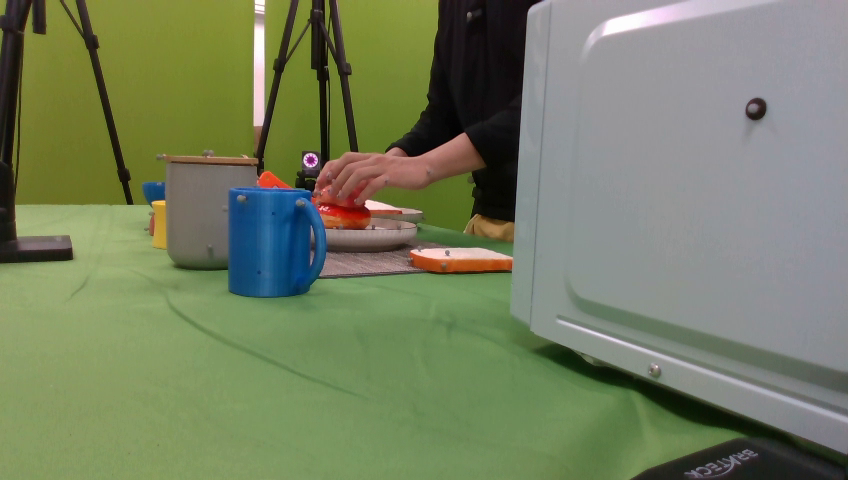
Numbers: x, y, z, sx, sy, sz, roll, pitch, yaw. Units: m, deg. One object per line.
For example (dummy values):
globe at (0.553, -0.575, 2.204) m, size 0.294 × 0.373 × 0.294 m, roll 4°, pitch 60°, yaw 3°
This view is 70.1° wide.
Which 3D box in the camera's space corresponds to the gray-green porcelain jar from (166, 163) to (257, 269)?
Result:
gray-green porcelain jar at (-0.263, -0.031, 0.754) m, size 0.106 × 0.126 × 0.106 m, roll 2°, pitch 7°, yaw 0°

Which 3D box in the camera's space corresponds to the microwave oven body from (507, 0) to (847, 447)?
microwave oven body at (0.331, -0.042, 0.425) m, size 0.444 × 0.260 × 0.324 m, roll -2°, pitch 8°, yaw -31°

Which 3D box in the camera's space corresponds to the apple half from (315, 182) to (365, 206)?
apple half at (-0.129, -0.076, 0.954) m, size 0.081 × 0.033 × 0.081 m, roll 8°, pitch 13°, yaw -1°

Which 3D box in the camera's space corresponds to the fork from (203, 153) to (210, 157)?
fork at (-0.480, -0.135, 1.411) m, size 0.028 × 0.018 × 0.207 m, roll 1°, pitch -34°, yaw -1°

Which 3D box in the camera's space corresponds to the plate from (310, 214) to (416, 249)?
plate at (-0.116, -0.014, 0.967) m, size 0.208 × 0.039 × 0.207 m, roll 2°, pitch 8°, yaw 0°

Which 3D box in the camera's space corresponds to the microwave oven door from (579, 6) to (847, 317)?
microwave oven door at (0.294, -0.067, 0.570) m, size 0.358 × 0.243 × 0.039 m, roll -3°, pitch 9°, yaw -31°

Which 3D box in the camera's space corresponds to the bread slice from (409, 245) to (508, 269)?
bread slice at (0.048, 0.021, 0.816) m, size 0.132 × 0.019 × 0.104 m, roll 0°, pitch 7°, yaw -24°

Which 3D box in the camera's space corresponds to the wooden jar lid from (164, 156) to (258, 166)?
wooden jar lid at (-0.261, -0.093, 0.746) m, size 0.108 × 0.020 × 0.108 m, roll 1°, pitch 9°, yaw 0°

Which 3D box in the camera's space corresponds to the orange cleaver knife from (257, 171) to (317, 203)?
orange cleaver knife at (-0.283, -0.087, 1.343) m, size 0.212 × 0.077 × 0.012 m, roll 24°, pitch -16°, yaw -41°

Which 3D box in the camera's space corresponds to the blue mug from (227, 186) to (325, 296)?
blue mug at (-0.146, 0.000, 0.618) m, size 0.116 × 0.106 × 0.083 m, roll 7°, pitch 9°, yaw 32°

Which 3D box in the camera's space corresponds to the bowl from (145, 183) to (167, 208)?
bowl at (-0.459, -0.068, 1.175) m, size 0.151 × 0.077 × 0.151 m, roll 3°, pitch 7°, yaw 0°

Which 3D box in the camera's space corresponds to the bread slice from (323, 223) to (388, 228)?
bread slice at (-0.120, -0.016, 0.970) m, size 0.106 × 0.018 × 0.135 m, roll 10°, pitch 9°, yaw 42°

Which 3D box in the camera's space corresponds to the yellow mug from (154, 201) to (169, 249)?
yellow mug at (-0.337, -0.022, 0.899) m, size 0.130 × 0.064 × 0.100 m, roll 8°, pitch 9°, yaw 34°

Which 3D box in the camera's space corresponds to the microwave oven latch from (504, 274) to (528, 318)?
microwave oven latch at (0.100, 0.041, 0.470) m, size 0.079 × 0.029 × 0.030 m, roll -1°, pitch 7°, yaw -27°

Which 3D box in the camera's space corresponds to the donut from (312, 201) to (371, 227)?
donut at (-0.133, -0.043, 0.959) m, size 0.099 × 0.048 × 0.099 m, roll -1°, pitch 6°, yaw 0°

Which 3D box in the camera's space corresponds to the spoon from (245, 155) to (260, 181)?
spoon at (-0.421, -0.150, 1.540) m, size 0.042 × 0.021 × 0.193 m, roll -5°, pitch 55°, yaw -37°

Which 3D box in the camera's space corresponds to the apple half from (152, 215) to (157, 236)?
apple half at (-0.415, -0.034, 1.017) m, size 0.081 × 0.053 × 0.074 m, roll 1°, pitch 10°, yaw -9°

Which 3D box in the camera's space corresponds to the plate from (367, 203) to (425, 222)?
plate at (-0.102, -0.053, 1.299) m, size 0.209 × 0.038 × 0.209 m, roll 2°, pitch 8°, yaw 0°
